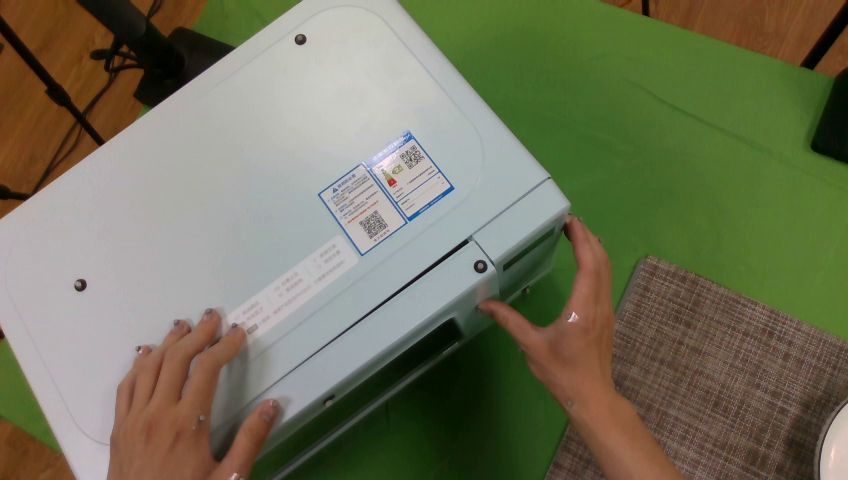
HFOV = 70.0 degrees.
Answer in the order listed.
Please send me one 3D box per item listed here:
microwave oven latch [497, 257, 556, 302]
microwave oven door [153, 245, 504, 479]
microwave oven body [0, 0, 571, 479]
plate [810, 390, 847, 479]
[{"bbox_3d":[0.110,0.036,0.677,0.079,0.030,0.030,-35,74,-1],"label":"microwave oven latch"},{"bbox_3d":[-0.079,0.142,0.570,0.356,0.245,0.039,-36,73,-2],"label":"microwave oven door"},{"bbox_3d":[-0.132,0.005,0.618,0.441,0.262,0.324,-37,74,-2],"label":"microwave oven body"},{"bbox_3d":[0.484,0.234,0.589,0.207,0.039,0.206,-2,75,7],"label":"plate"}]
